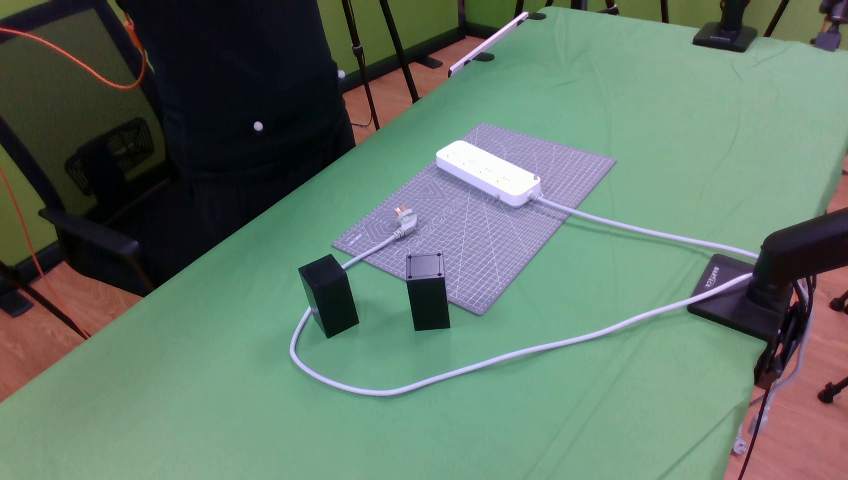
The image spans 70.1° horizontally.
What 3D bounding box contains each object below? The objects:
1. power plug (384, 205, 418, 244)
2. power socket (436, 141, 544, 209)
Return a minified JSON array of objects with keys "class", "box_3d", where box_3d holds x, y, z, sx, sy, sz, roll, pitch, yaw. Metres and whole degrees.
[{"class":"power plug","box_3d":[-0.043,-0.030,0.991,0.073,0.035,0.052,-20,58,-31]},{"class":"power socket","box_3d":[0.111,-0.120,1.082,0.072,0.033,0.224,-34,47,-27]}]
